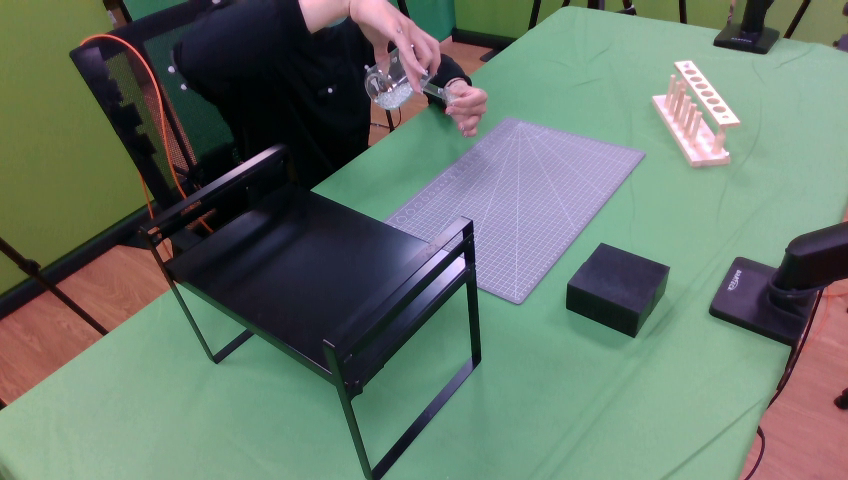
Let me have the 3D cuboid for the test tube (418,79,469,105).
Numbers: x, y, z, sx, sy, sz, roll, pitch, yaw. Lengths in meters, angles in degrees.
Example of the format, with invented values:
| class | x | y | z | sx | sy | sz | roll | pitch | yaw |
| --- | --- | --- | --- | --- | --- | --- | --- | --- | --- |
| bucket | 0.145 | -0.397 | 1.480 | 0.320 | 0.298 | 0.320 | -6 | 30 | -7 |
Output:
| class | x | y | z | sx | sy | sz | roll | pitch | yaw |
| --- | --- | --- | --- | --- | --- | --- | --- | --- | --- |
| test tube | 0.036 | -0.254 | 1.045 | 0.017 | 0.017 | 0.151 | 24 | 12 | 31 |

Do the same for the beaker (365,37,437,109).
| class | x | y | z | sx | sy | sz | roll | pitch | yaw |
| --- | --- | --- | --- | --- | --- | --- | --- | --- | --- |
| beaker | -0.036 | -0.253 | 0.932 | 0.073 | 0.084 | 0.100 | 16 | 49 | 33 |

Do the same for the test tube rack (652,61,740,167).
| class | x | y | z | sx | sy | sz | roll | pitch | yaw |
| --- | --- | --- | --- | --- | --- | --- | --- | --- | --- |
| test tube rack | 0.499 | -0.242 | 1.130 | 0.067 | 0.085 | 0.241 | -5 | 41 | 3 |
